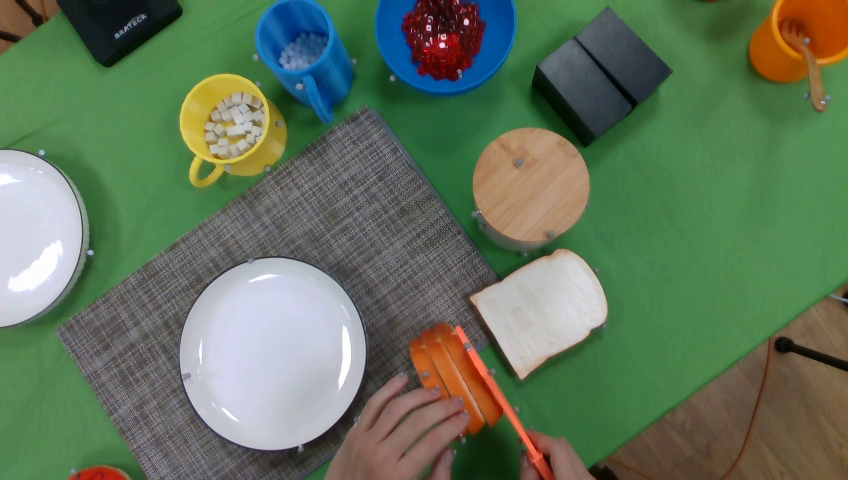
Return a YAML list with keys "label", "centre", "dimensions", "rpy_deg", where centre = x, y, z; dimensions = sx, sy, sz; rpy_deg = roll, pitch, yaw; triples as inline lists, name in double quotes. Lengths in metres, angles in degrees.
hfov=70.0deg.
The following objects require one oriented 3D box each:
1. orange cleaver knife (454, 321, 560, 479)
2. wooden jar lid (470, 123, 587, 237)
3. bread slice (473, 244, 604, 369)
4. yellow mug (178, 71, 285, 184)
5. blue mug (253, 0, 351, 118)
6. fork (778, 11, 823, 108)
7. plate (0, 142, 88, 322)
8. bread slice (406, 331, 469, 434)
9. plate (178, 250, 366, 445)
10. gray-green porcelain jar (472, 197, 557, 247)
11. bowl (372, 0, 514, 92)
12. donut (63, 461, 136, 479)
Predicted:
- label: "orange cleaver knife"
  centre: [0.085, 0.167, 0.582]
  dimensions: [0.012, 0.076, 0.212]
  rpy_deg: [-32, 108, 0]
- label: "wooden jar lid"
  centre: [0.097, -0.055, 0.566]
  dimensions: [0.108, 0.021, 0.108]
  rpy_deg: [0, 85, 1]
- label: "bread slice"
  centre: [0.135, 0.070, 0.680]
  dimensions: [0.131, 0.019, 0.104]
  rpy_deg: [-33, 76, 16]
- label: "yellow mug"
  centre: [-0.224, -0.119, 0.685]
  dimensions: [0.100, 0.064, 0.131]
  rpy_deg: [32, 89, 7]
- label: "blue mug"
  centre: [-0.126, -0.191, 0.666]
  dimensions: [0.082, 0.106, 0.116]
  rpy_deg: [-16, 84, 2]
- label: "fork"
  centre: [0.382, -0.187, 0.611]
  dimensions: [0.028, 0.019, 0.206]
  rpy_deg: [26, 43, -1]
- label: "plate"
  centre: [-0.488, -0.009, 0.705]
  dimensions: [0.207, 0.039, 0.207]
  rpy_deg: [0, 85, 3]
- label: "bread slice"
  centre: [0.013, 0.141, 0.614]
  dimensions: [0.018, 0.135, 0.106]
  rpy_deg: [-30, 81, 0]
- label: "plate"
  centre: [-0.164, 0.117, 0.670]
  dimensions: [0.209, 0.038, 0.208]
  rpy_deg: [0, 85, 4]
- label: "gray-green porcelain jar"
  centre: [0.102, -0.049, 0.628]
  dimensions: [0.106, 0.127, 0.105]
  rpy_deg: [0, 84, 3]
- label: "bowl"
  centre: [0.022, -0.229, 0.673]
  dimensions: [0.151, 0.077, 0.151]
  rpy_deg: [0, 85, 4]
- label: "donut"
  centre: [-0.360, 0.294, 0.667]
  dimensions: [0.099, 0.048, 0.099]
  rpy_deg: [0, 83, 2]
